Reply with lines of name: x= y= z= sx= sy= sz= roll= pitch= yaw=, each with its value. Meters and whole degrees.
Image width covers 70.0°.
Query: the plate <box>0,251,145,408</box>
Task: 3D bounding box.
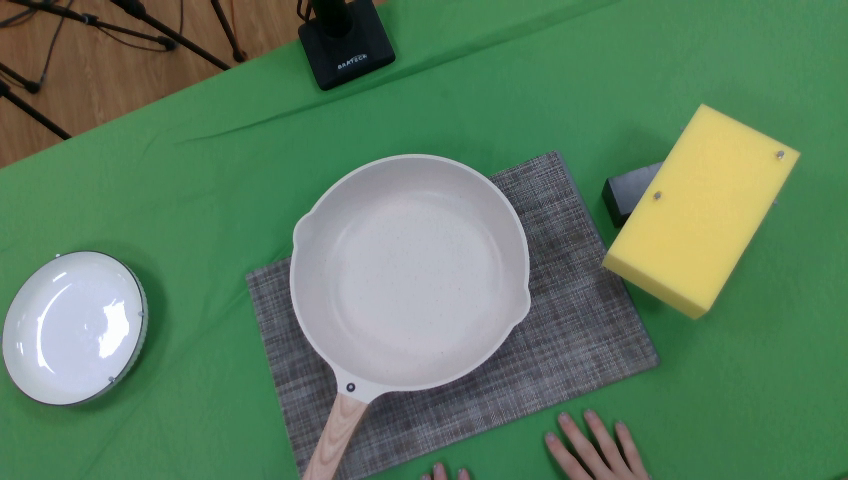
plate: x=-0.469 y=0.119 z=0.815 sx=0.207 sy=0.039 sz=0.206 roll=-2 pitch=74 yaw=7

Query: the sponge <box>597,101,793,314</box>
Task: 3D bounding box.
sponge: x=0.300 y=-0.037 z=0.680 sx=0.117 sy=0.061 sz=0.206 roll=31 pitch=81 yaw=15

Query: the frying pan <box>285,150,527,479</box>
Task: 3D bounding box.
frying pan: x=-0.062 y=0.125 z=0.715 sx=0.305 sy=0.103 sz=0.485 roll=19 pitch=70 yaw=14
